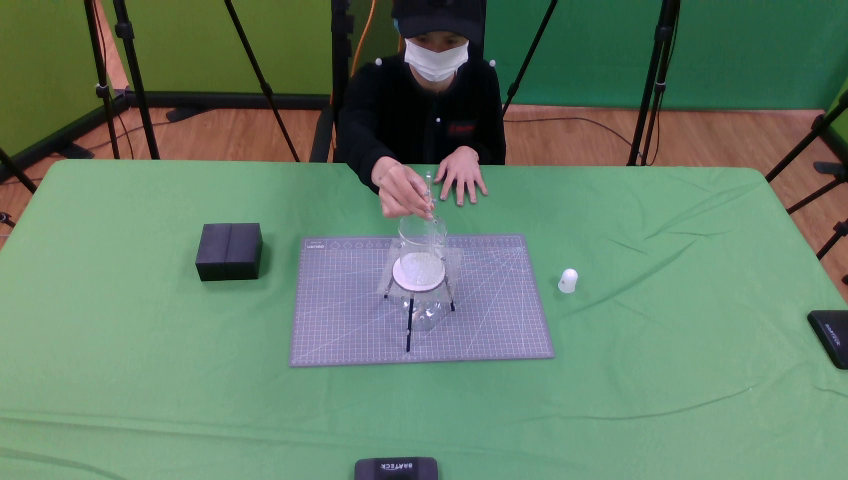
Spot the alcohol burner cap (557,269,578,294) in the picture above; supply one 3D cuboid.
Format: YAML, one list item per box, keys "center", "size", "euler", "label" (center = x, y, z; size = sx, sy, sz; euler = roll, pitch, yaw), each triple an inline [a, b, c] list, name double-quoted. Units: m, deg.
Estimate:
- center: [0.270, 0.075, 1.135]
  size: [0.034, 0.048, 0.033]
  euler: [3, 46, -3]
  label: "alcohol burner cap"

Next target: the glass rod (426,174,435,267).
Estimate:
- center: [0.011, -0.023, 0.906]
  size: [0.008, 0.201, 0.008]
  euler: [-2, 48, 2]
  label: "glass rod"

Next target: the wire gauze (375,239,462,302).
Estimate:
- center: [-0.006, 0.049, 0.977]
  size: [0.121, 0.011, 0.124]
  euler: [10, 44, 5]
  label: "wire gauze"

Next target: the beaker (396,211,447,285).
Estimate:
- center: [-0.002, 0.017, 0.941]
  size: [0.083, 0.101, 0.074]
  euler: [36, 55, 28]
  label: "beaker"

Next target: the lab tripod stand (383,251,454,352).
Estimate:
- center: [-0.015, 0.094, 1.025]
  size: [0.148, 0.132, 0.147]
  euler: [1, 46, -1]
  label: "lab tripod stand"

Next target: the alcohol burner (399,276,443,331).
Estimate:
- center: [-0.004, 0.101, 1.033]
  size: [0.078, 0.119, 0.077]
  euler: [3, 48, -3]
  label: "alcohol burner"
